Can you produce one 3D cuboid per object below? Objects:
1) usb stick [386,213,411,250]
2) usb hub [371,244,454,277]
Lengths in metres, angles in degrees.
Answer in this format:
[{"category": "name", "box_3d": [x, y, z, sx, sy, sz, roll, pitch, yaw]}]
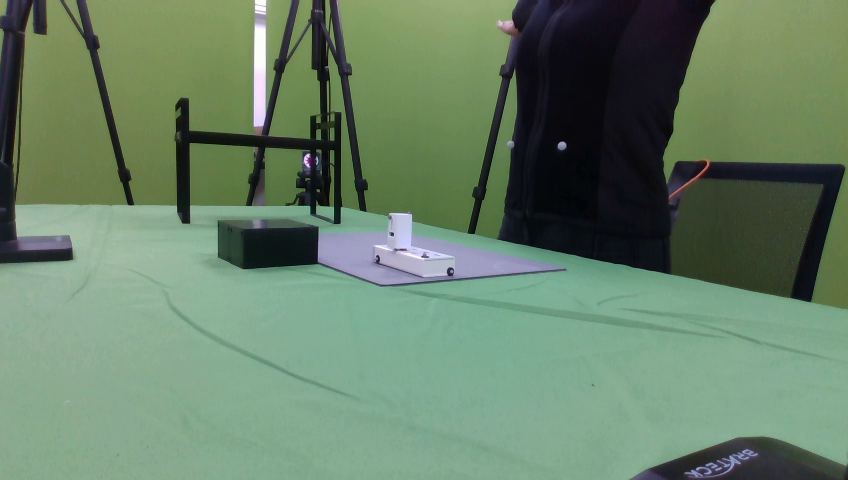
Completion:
[{"category": "usb stick", "box_3d": [-0.032, -0.005, 0.771, 0.027, 0.059, 0.021, -4, 9, -33]}, {"category": "usb hub", "box_3d": [-0.018, 0.024, 0.777, 0.050, 0.025, 0.124, -3, 9, -35]}]
